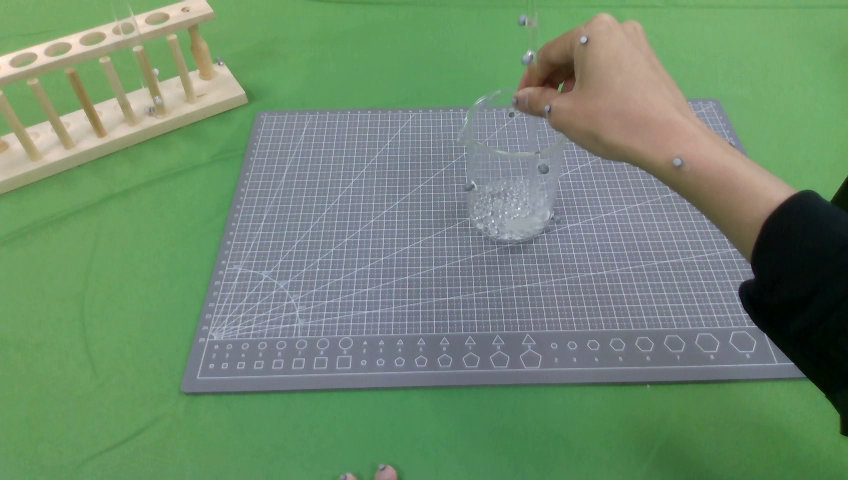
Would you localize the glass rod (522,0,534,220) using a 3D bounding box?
[{"bbox_3d":[0.071,-0.084,0.417,0.008,0.202,0.008,-5,48,6],"label":"glass rod"}]

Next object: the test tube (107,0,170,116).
[{"bbox_3d":[-0.251,-0.172,0.523,0.017,0.151,0.017,0,48,1],"label":"test tube"}]

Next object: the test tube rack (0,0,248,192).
[{"bbox_3d":[-0.297,-0.136,0.554,0.242,0.086,0.066,-26,54,-19],"label":"test tube rack"}]

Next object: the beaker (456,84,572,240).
[{"bbox_3d":[0.065,-0.054,0.462,0.084,0.101,0.073,-15,51,-9],"label":"beaker"}]
